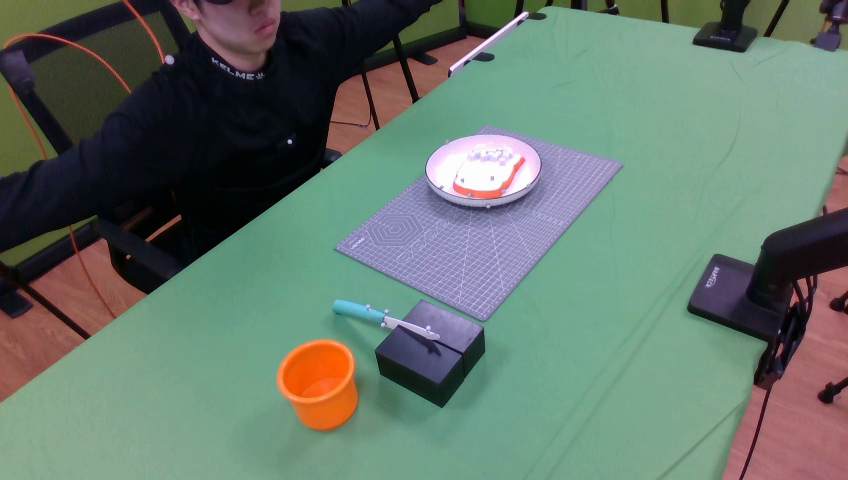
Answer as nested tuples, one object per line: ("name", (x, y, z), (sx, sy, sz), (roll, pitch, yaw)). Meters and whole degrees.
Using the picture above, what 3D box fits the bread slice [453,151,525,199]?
("bread slice", (0.112, -0.118, 1.079), (0.104, 0.019, 0.131), (11, 42, 21))

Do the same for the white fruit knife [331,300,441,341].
("white fruit knife", (-0.056, 0.107, 0.807), (0.205, 0.027, 0.016), (9, 42, 40))

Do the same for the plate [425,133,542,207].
("plate", (0.106, -0.121, 1.079), (0.209, 0.038, 0.208), (-4, 41, 4))
